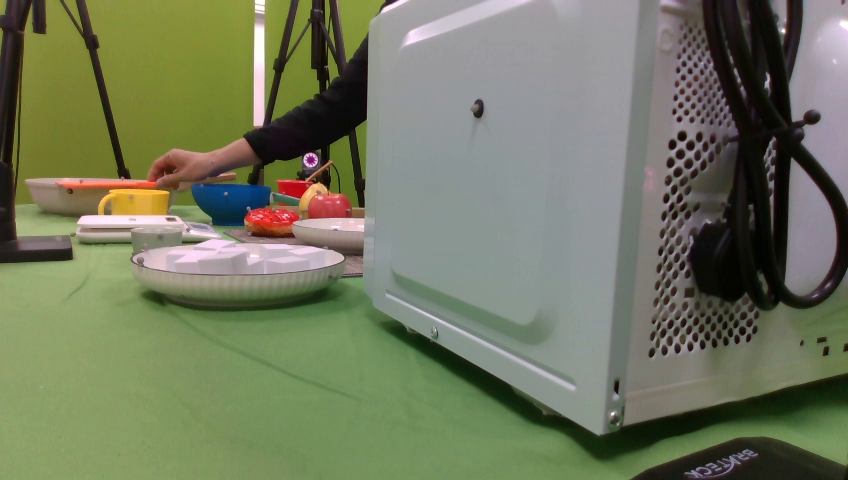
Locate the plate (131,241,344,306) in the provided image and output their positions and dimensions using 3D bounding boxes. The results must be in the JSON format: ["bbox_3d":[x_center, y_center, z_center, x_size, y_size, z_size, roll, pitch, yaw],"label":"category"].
[{"bbox_3d":[-0.187,0.033,0.625,0.208,0.039,0.207,2,8,0],"label":"plate"}]

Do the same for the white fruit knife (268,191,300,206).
[{"bbox_3d":[-0.364,-0.105,1.464,0.208,0.027,0.016,15,0,-34],"label":"white fruit knife"}]

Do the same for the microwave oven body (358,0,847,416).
[{"bbox_3d":[0.211,-0.047,0.474,0.444,0.260,0.324,-1,7,-28],"label":"microwave oven body"}]

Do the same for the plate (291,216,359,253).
[{"bbox_3d":[-0.103,-0.009,0.945,0.209,0.038,0.209,2,8,0],"label":"plate"}]

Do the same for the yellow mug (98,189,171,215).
[{"bbox_3d":[-0.519,-0.055,1.080,0.099,0.064,0.131,7,9,26],"label":"yellow mug"}]

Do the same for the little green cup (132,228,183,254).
[{"bbox_3d":[-0.342,0.006,0.779,0.061,0.038,0.061,2,8,0],"label":"little green cup"}]

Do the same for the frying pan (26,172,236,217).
[{"bbox_3d":[-0.624,-0.118,1.387,0.305,0.102,0.490,8,17,32],"label":"frying pan"}]

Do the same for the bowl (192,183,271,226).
[{"bbox_3d":[-0.382,-0.071,1.202,0.151,0.077,0.151,3,7,0],"label":"bowl"}]

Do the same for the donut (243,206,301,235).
[{"bbox_3d":[-0.261,-0.032,1.043,0.099,0.048,0.099,4,9,0],"label":"donut"}]

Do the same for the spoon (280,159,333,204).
[{"bbox_3d":[-0.317,-0.159,1.640,0.194,0.022,0.041,-49,33,-20],"label":"spoon"}]

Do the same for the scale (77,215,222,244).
[{"bbox_3d":[-0.434,-0.019,0.963,0.202,0.031,0.148,-1,9,-27],"label":"scale"}]

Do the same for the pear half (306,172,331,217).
[{"bbox_3d":[-0.199,-0.080,1.203,0.056,0.110,0.076,3,12,2],"label":"pear half"}]

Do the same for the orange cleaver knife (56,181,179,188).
[{"bbox_3d":[-0.598,-0.110,1.188,0.212,0.012,0.077,-4,13,-36],"label":"orange cleaver knife"}]

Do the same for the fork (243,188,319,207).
[{"bbox_3d":[-0.356,-0.105,1.526,0.208,0.018,0.028,16,-5,-41],"label":"fork"}]

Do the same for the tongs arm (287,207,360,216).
[{"bbox_3d":[-0.174,-0.060,1.363,0.387,0.026,0.050,-1,3,-31],"label":"tongs arm"}]

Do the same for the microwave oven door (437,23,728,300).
[{"bbox_3d":[0.181,-0.073,0.621,0.358,0.243,0.039,-2,8,-29],"label":"microwave oven door"}]

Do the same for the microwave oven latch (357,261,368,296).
[{"bbox_3d":[-0.019,0.033,0.532,0.079,0.029,0.030,-1,8,-30],"label":"microwave oven latch"}]

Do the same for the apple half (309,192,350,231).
[{"bbox_3d":[-0.173,-0.055,1.125,0.081,0.081,0.033,3,10,3],"label":"apple half"}]

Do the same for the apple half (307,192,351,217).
[{"bbox_3d":[-0.174,-0.049,1.087,0.081,0.074,0.053,6,11,2],"label":"apple half"}]

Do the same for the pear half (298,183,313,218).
[{"bbox_3d":[-0.235,-0.071,1.207,0.031,0.088,0.070,3,10,0],"label":"pear half"}]

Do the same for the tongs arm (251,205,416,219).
[{"bbox_3d":[-0.211,-0.066,1.440,0.389,0.027,0.028,0,-1,-17],"label":"tongs arm"}]
